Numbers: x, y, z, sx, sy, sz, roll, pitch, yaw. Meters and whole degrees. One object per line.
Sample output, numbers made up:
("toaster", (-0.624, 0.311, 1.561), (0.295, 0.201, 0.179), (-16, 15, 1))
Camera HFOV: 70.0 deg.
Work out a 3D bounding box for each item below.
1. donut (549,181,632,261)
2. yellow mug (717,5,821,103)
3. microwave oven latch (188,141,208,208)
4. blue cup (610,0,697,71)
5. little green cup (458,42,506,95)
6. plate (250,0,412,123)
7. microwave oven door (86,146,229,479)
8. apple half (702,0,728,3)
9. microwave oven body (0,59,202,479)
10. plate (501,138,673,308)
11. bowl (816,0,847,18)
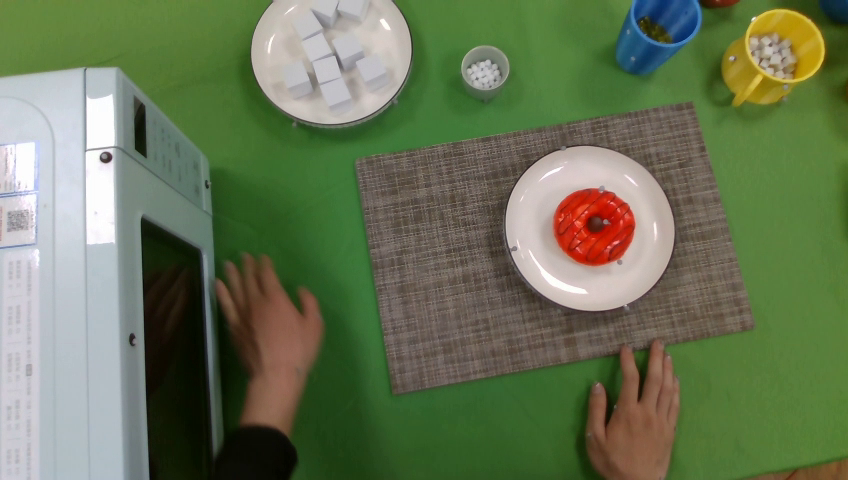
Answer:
("donut", (0.201, -0.023, 0.734), (0.099, 0.048, 0.098), (0, 80, 1))
("yellow mug", (0.432, -0.229, 0.778), (0.100, 0.064, 0.130), (38, 82, 6))
("microwave oven latch", (-0.281, -0.078, 0.737), (0.030, 0.029, 0.079), (-5, 80, -2))
("blue cup", (0.280, -0.263, 0.765), (0.093, 0.100, 0.092), (0, 81, -1))
("little green cup", (0.074, -0.220, 0.787), (0.061, 0.039, 0.061), (0, 79, 0))
("plate", (-0.119, -0.246, 0.790), (0.208, 0.039, 0.206), (0, 79, 0))
("microwave oven door", (-0.256, 0.115, 0.596), (0.039, 0.244, 0.354), (-7, 79, -2))
("apple half", (0.380, -0.355, 0.798), (0.053, 0.075, 0.080), (-5, 82, 2))
("microwave oven body", (-0.405, 0.092, 0.605), (0.326, 0.261, 0.439), (-7, 80, -2))
("plate", (0.196, -0.020, 0.745), (0.209, 0.038, 0.208), (0, 79, 0))
("bowl", (0.573, -0.346, 0.796), (0.151, 0.077, 0.150), (0, 80, 0))
